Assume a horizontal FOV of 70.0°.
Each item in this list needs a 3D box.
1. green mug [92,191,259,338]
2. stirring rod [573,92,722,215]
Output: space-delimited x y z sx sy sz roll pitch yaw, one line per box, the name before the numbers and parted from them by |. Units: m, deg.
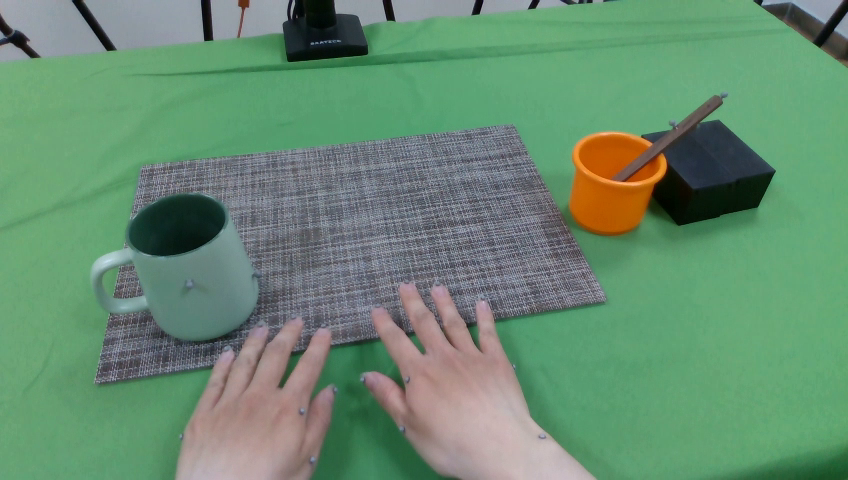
green mug | -0.211 0.027 0.514 0.125 0.106 0.091 -17 47 -16
stirring rod | 0.222 -0.085 0.612 0.176 0.006 0.014 -42 48 19
